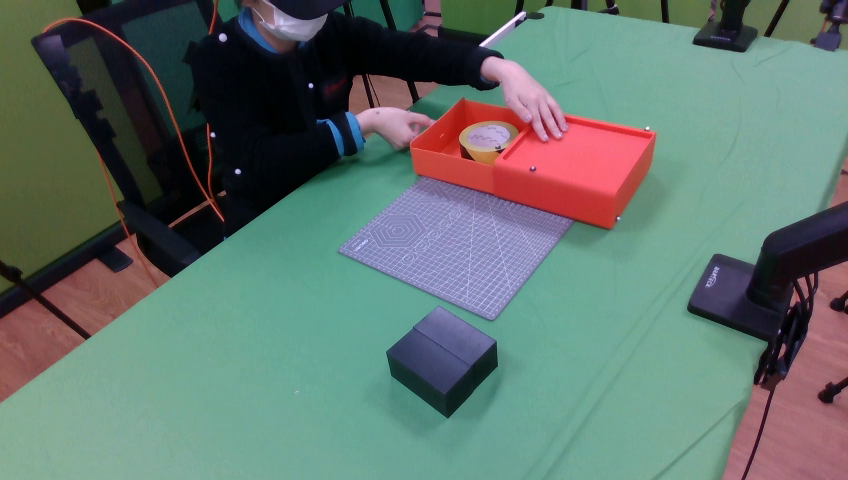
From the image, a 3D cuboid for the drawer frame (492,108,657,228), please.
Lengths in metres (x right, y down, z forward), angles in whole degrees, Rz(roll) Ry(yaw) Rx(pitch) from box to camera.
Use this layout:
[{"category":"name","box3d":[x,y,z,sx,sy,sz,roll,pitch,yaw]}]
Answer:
[{"category":"drawer frame","box3d":[0.255,-0.130,1.032,0.212,0.083,0.202,19,47,27]}]

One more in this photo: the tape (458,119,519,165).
[{"category":"tape","box3d":[0.120,-0.172,1.116,0.117,0.053,0.116,-6,40,5]}]

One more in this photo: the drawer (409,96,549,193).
[{"category":"drawer","box3d":[0.114,-0.177,1.113,0.210,0.073,0.195,19,46,29]}]
